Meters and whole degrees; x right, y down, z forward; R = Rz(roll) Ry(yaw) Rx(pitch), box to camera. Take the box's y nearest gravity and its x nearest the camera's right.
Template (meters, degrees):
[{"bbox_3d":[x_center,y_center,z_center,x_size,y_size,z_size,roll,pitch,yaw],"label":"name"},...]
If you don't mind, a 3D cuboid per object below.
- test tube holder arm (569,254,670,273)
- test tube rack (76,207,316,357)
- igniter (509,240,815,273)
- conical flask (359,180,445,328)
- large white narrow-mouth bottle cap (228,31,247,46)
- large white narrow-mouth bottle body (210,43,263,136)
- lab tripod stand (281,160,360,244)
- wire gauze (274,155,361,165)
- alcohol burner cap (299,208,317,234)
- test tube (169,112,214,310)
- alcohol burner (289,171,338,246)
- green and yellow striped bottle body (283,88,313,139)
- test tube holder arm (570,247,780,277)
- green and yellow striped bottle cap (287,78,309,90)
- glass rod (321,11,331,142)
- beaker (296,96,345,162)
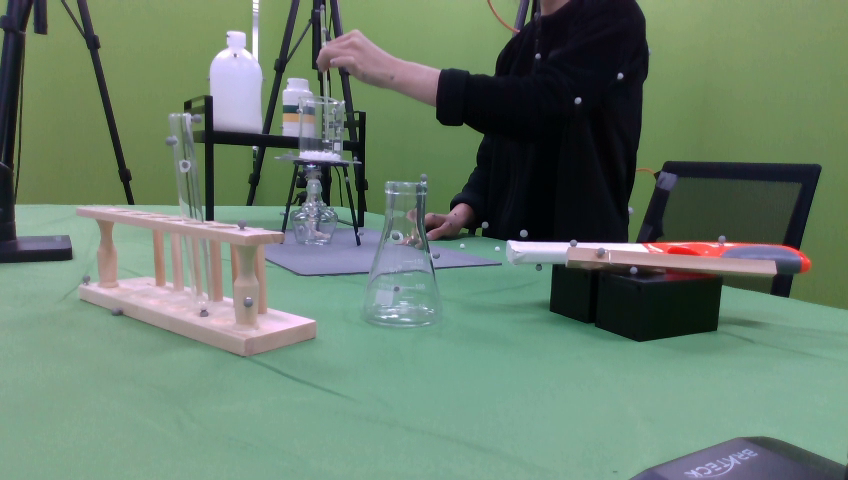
[{"bbox_3d":[0.172,0.019,0.532,0.088,0.015,0.010,3,-23,4],"label":"test tube holder arm"},{"bbox_3d":[-0.196,0.023,0.500,0.241,0.085,0.067,8,9,36],"label":"test tube rack"},{"bbox_3d":[0.220,0.015,0.566,0.277,0.025,0.057,2,16,0],"label":"igniter"},{"bbox_3d":[-0.017,0.010,0.522,0.075,0.122,0.075,2,7,0],"label":"conical flask"},{"bbox_3d":[-0.364,-0.392,1.180,0.038,0.024,0.037,3,8,0],"label":"large white narrow-mouth bottle cap"},{"bbox_3d":[-0.369,-0.305,1.194,0.102,0.194,0.102,3,8,0],"label":"large white narrow-mouth bottle body"},{"bbox_3d":[-0.170,-0.063,0.983,0.148,0.131,0.148,1,6,0],"label":"lab tripod stand"},{"bbox_3d":[-0.174,-0.129,0.978,0.125,0.011,0.121,-2,6,-19],"label":"wire gauze"},{"bbox_3d":[-0.213,-0.035,1.110,0.034,0.048,0.034,2,7,0],"label":"alcohol burner cap"},{"bbox_3d":[-0.175,-0.020,0.455,0.017,0.150,0.017,-3,9,1],"label":"test tube"},{"bbox_3d":[-0.177,-0.051,0.968,0.078,0.119,0.078,1,6,0],"label":"alcohol burner"},{"bbox_3d":[-0.265,-0.275,1.275,0.063,0.119,0.063,3,7,0],"label":"green and yellow striped bottle body"},{"bbox_3d":[0.217,0.020,0.524,0.178,0.015,0.013,3,-23,3],"label":"test tube holder arm"},{"bbox_3d":[-0.265,-0.326,1.268,0.045,0.020,0.045,4,6,0],"label":"green and yellow striped bottle cap"},{"bbox_3d":[-0.153,-0.254,0.951,0.008,0.199,0.008,0,17,0],"label":"glass rod"},{"bbox_3d":[-0.163,-0.175,0.966,0.083,0.100,0.074,7,8,34],"label":"beaker"}]
